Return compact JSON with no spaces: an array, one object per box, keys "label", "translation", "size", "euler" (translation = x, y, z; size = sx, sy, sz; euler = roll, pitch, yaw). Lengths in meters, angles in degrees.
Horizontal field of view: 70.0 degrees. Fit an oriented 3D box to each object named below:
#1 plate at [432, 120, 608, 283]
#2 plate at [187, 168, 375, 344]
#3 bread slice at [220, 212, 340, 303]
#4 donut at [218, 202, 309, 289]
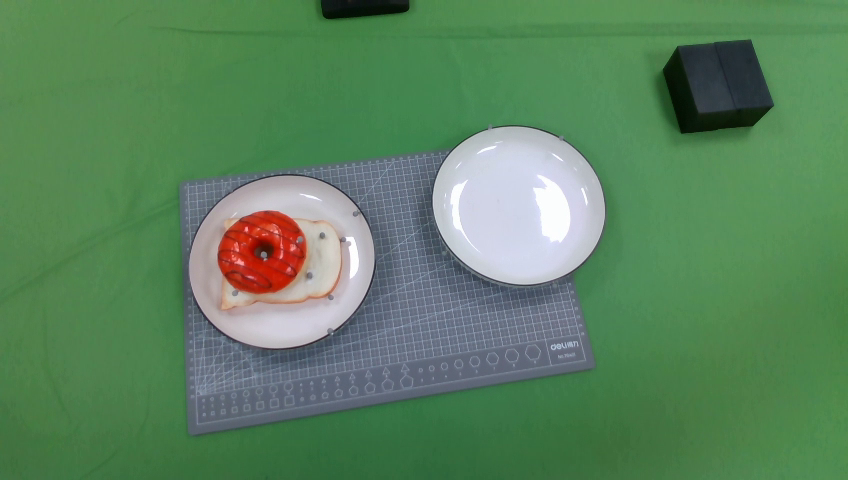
[{"label":"plate","translation":[0.113,-0.045,0.727],"size":[0.208,0.039,0.206],"euler":[1,71,-2]},{"label":"plate","translation":[-0.160,0.019,0.693],"size":[0.209,0.038,0.207],"euler":[1,71,-3]},{"label":"bread slice","translation":[-0.164,0.015,0.694],"size":[0.134,0.018,0.106],"euler":[-5,72,-6]},{"label":"donut","translation":[-0.176,0.005,0.667],"size":[0.099,0.048,0.098],"euler":[1,72,-1]}]
